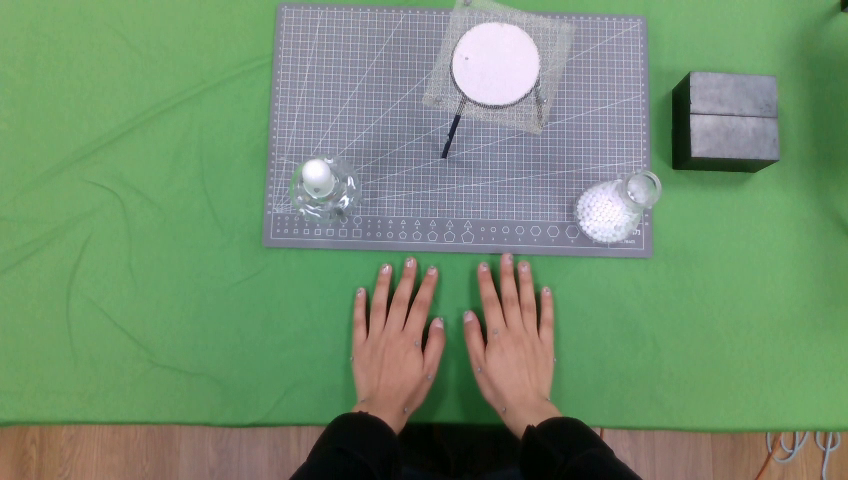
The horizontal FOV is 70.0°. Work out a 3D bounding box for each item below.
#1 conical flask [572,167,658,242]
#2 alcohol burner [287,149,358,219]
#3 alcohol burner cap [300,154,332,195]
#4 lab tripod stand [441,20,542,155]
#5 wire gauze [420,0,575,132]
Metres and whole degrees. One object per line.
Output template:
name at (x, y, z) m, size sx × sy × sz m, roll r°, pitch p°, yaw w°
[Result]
conical flask at (0.209, -0.043, 0.648) m, size 0.075 × 0.122 × 0.075 m, roll 0°, pitch 81°, yaw -1°
alcohol burner at (-0.111, -0.063, 0.646) m, size 0.078 × 0.119 × 0.077 m, roll 0°, pitch 83°, yaw -1°
alcohol burner cap at (-0.111, -0.068, 0.611) m, size 0.034 × 0.048 × 0.033 m, roll 1°, pitch 77°, yaw -5°
lab tripod stand at (0.065, -0.167, 0.656) m, size 0.148 × 0.132 × 0.148 m, roll 0°, pitch 81°, yaw 1°
wire gauze at (0.072, -0.175, 0.589) m, size 0.121 × 0.011 × 0.124 m, roll 19°, pitch 81°, yaw 2°
